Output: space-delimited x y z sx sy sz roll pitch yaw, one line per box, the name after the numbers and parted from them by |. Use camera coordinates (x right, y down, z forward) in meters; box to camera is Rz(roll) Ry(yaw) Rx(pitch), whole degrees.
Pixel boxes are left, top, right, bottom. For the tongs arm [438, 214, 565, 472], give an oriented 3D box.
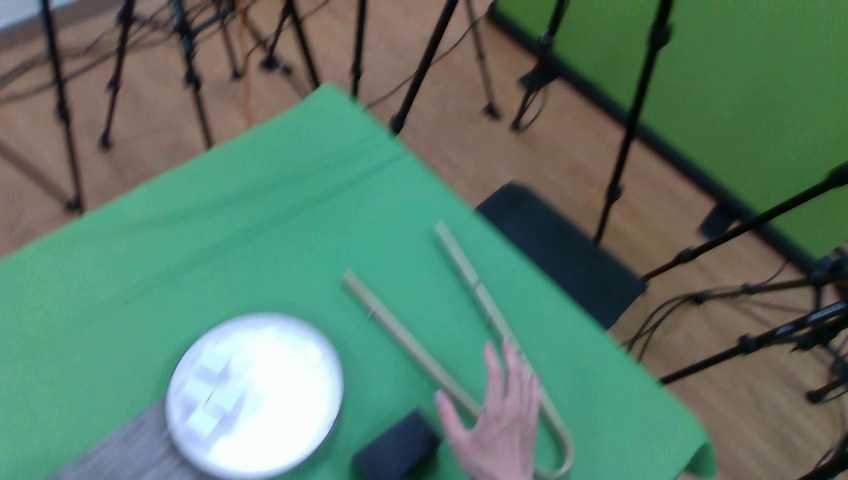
0.091 0.128 0.833 0.051 0.027 0.381 -22 67 -20 | tongs arm

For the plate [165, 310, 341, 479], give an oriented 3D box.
-0.207 0.189 0.750 0.208 0.039 0.206 4 60 -7 | plate

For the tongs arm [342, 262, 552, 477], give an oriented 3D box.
0.018 0.166 0.803 0.028 0.028 0.385 -36 72 -28 | tongs arm
